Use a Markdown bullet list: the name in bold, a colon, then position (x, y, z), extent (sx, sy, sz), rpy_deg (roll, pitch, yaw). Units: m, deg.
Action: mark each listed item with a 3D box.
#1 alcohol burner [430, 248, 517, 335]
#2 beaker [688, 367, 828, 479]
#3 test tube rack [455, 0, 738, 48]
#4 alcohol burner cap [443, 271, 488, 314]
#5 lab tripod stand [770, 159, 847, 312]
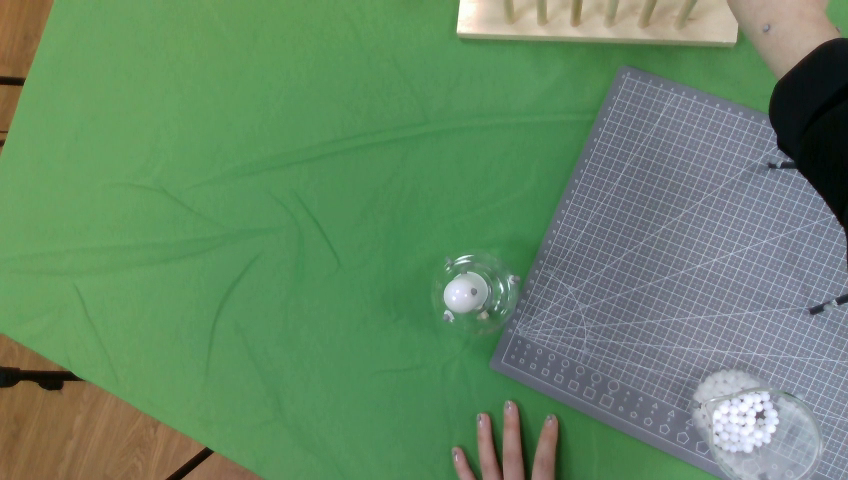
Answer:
- **alcohol burner**: position (0.040, 0.044, 0.517), extent (0.078, 0.119, 0.078), rpy_deg (0, 87, 11)
- **beaker**: position (0.248, 0.139, 0.472), extent (0.083, 0.100, 0.074), rpy_deg (30, 95, 13)
- **test tube rack**: position (0.142, -0.213, 0.510), extent (0.241, 0.085, 0.066), rpy_deg (6, 90, 13)
- **alcohol burner cap**: position (0.031, 0.042, 0.482), extent (0.034, 0.048, 0.034), rpy_deg (1, 92, 14)
- **lab tripod stand**: position (0.326, -0.012, 0.438), extent (0.148, 0.132, 0.148), rpy_deg (0, 91, 12)
